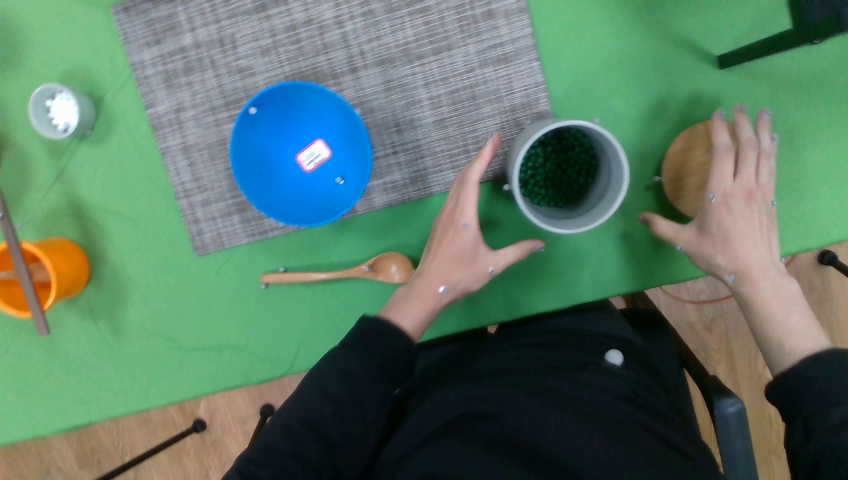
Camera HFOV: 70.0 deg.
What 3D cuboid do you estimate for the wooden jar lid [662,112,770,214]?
[{"bbox_3d":[0.311,-0.082,0.651,0.108,0.020,0.109,1,102,6],"label":"wooden jar lid"}]

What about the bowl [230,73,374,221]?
[{"bbox_3d":[-0.122,-0.101,0.658,0.151,0.076,0.152,1,102,6],"label":"bowl"}]

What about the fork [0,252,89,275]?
[{"bbox_3d":[-0.502,0.033,0.692,0.208,0.018,0.028,-4,107,-37],"label":"fork"}]

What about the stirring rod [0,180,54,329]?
[{"bbox_3d":[-0.452,0.017,0.681,0.014,0.006,0.176,-12,100,10],"label":"stirring rod"}]

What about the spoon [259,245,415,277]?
[{"bbox_3d":[-0.106,0.031,0.716,0.193,0.021,0.042,-6,119,7],"label":"spoon"}]

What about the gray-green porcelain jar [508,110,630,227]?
[{"bbox_3d":[0.139,-0.077,0.613,0.106,0.126,0.106,1,104,4],"label":"gray-green porcelain jar"}]

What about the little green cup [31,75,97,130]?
[{"bbox_3d":[-0.413,-0.158,0.700,0.061,0.038,0.062,1,102,6],"label":"little green cup"}]
